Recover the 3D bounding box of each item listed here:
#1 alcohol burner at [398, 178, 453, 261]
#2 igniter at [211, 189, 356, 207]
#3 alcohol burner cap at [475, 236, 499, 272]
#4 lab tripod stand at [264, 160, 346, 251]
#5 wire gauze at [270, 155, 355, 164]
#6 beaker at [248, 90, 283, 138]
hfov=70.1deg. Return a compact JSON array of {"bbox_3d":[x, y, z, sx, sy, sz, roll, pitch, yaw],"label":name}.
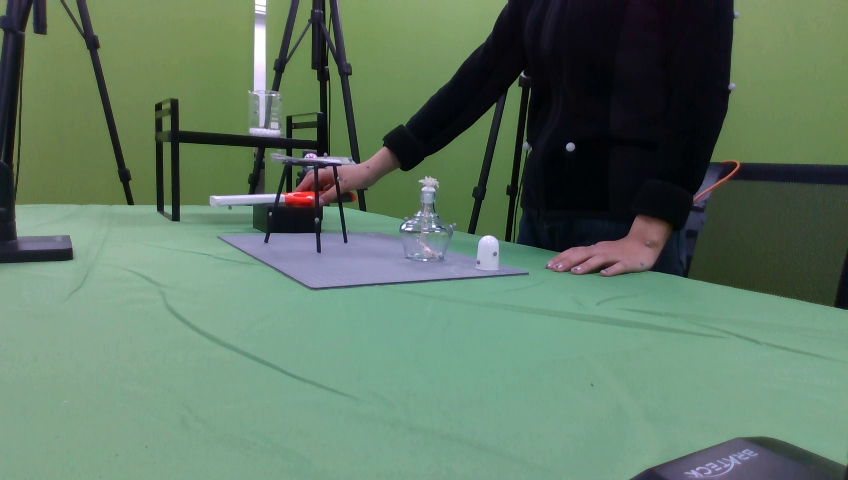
[{"bbox_3d":[0.004,-0.029,0.860,0.078,0.119,0.078,4,7,0],"label":"alcohol burner"},{"bbox_3d":[-0.260,-0.080,1.151,0.278,0.025,0.057,-5,13,-33],"label":"igniter"},{"bbox_3d":[0.084,0.018,0.799,0.034,0.048,0.034,2,6,0],"label":"alcohol burner cap"},{"bbox_3d":[-0.178,-0.057,0.930,0.148,0.131,0.148,1,9,0],"label":"lab tripod stand"},{"bbox_3d":[-0.174,-0.123,0.925,0.125,0.011,0.121,0,8,-12],"label":"wire gauze"},{"bbox_3d":[-0.354,-0.278,1.340,0.074,0.100,0.084,6,9,26],"label":"beaker"}]
